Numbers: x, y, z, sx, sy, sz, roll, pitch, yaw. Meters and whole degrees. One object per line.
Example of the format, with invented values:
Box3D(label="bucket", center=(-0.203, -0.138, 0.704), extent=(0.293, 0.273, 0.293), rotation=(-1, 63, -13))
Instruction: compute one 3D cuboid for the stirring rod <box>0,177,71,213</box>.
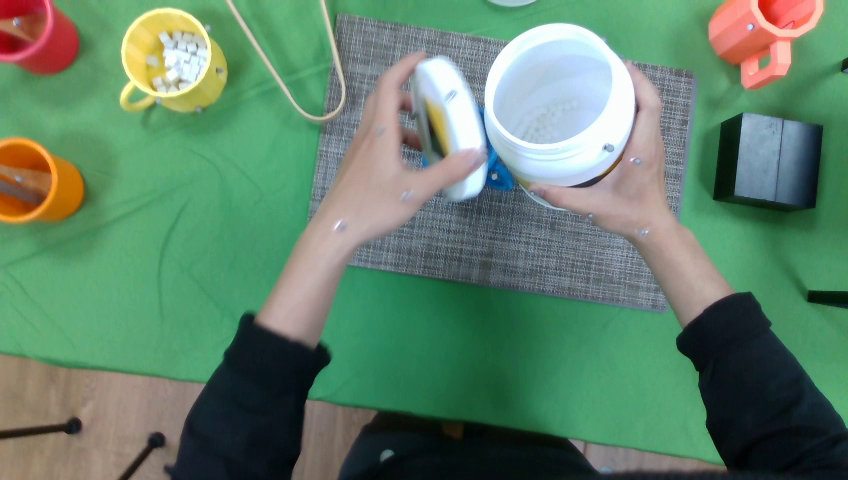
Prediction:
Box3D(label="stirring rod", center=(-0.474, -0.067, 0.653), extent=(0.006, 0.178, 0.014), rotation=(-2, 69, 41))

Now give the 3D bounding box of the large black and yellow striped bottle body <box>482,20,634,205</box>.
Box3D(label="large black and yellow striped bottle body", center=(0.130, -0.115, 0.577), extent=(0.130, 0.185, 0.130), rotation=(-3, 80, 19))

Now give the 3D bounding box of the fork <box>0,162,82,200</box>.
Box3D(label="fork", center=(-0.480, -0.087, 0.650), extent=(0.209, 0.018, 0.028), rotation=(24, 85, -45))

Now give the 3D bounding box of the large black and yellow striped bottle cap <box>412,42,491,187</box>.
Box3D(label="large black and yellow striped bottle cap", center=(0.019, -0.099, 0.489), extent=(0.019, 0.115, 0.115), rotation=(-19, 88, -16))

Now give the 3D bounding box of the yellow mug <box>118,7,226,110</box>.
Box3D(label="yellow mug", center=(-0.301, -0.199, 0.703), extent=(0.131, 0.064, 0.100), rotation=(-43, 90, -2))

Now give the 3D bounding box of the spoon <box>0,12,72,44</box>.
Box3D(label="spoon", center=(-0.491, -0.235, 0.658), extent=(0.194, 0.021, 0.041), rotation=(-16, 86, -47))

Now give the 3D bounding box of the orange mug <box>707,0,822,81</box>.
Box3D(label="orange mug", center=(0.401, -0.258, 0.718), extent=(0.083, 0.101, 0.126), rotation=(-2, 84, -2))

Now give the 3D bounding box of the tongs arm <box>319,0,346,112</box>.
Box3D(label="tongs arm", center=(-0.148, -0.344, 0.712), extent=(0.028, 0.027, 0.388), rotation=(-17, 96, -11))

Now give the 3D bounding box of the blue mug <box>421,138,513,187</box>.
Box3D(label="blue mug", center=(0.052, -0.100, 0.692), extent=(0.116, 0.106, 0.082), rotation=(34, 87, 0))

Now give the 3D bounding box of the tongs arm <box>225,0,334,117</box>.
Box3D(label="tongs arm", center=(-0.225, -0.309, 0.705), extent=(0.051, 0.026, 0.385), rotation=(-30, 97, -6))
